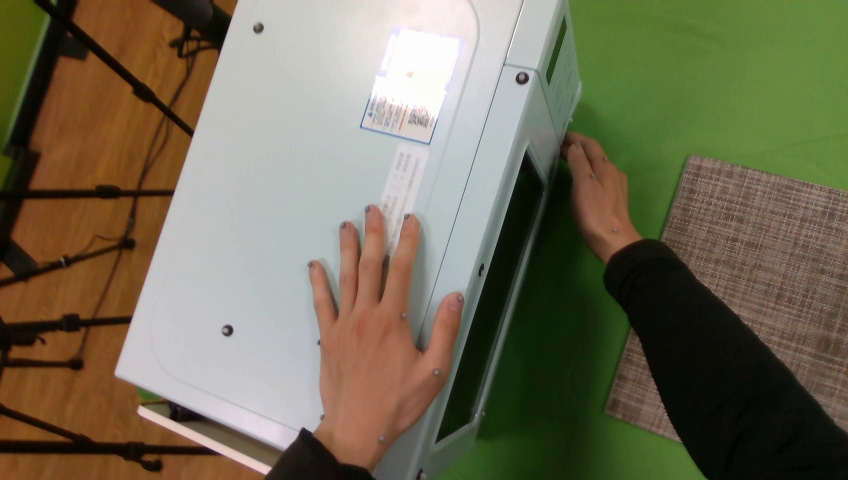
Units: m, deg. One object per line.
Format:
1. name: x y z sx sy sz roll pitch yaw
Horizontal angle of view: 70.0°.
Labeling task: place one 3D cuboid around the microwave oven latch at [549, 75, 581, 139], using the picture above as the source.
1. microwave oven latch: 0.153 -0.149 0.689 0.030 0.029 0.079 24 91 18

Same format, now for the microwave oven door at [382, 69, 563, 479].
1. microwave oven door: 0.058 0.048 0.585 0.039 0.245 0.355 16 88 20

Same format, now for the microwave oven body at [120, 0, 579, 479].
1. microwave oven body: -0.061 -0.030 0.638 0.324 0.261 0.441 16 88 18
